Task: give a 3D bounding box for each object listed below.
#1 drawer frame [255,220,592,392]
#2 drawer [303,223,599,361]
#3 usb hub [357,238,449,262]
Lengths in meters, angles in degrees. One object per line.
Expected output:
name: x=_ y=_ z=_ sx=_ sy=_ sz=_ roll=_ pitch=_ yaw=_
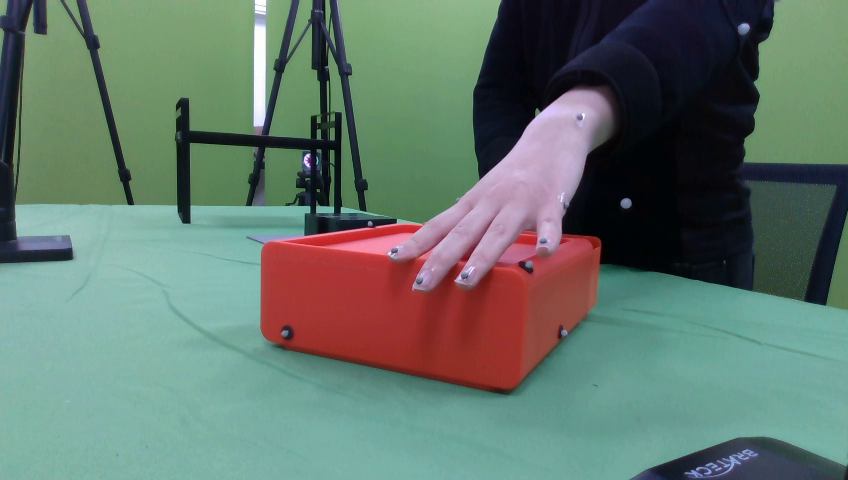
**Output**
drawer frame: x=0.014 y=0.036 z=0.490 sx=0.201 sy=0.082 sz=0.214 roll=6 pitch=9 yaw=25
drawer: x=0.034 y=0.034 z=0.531 sx=0.194 sy=0.073 sz=0.212 roll=6 pitch=9 yaw=26
usb hub: x=-0.028 y=0.013 z=0.855 sx=0.126 sy=0.025 sz=0.049 roll=-2 pitch=8 yaw=-33
